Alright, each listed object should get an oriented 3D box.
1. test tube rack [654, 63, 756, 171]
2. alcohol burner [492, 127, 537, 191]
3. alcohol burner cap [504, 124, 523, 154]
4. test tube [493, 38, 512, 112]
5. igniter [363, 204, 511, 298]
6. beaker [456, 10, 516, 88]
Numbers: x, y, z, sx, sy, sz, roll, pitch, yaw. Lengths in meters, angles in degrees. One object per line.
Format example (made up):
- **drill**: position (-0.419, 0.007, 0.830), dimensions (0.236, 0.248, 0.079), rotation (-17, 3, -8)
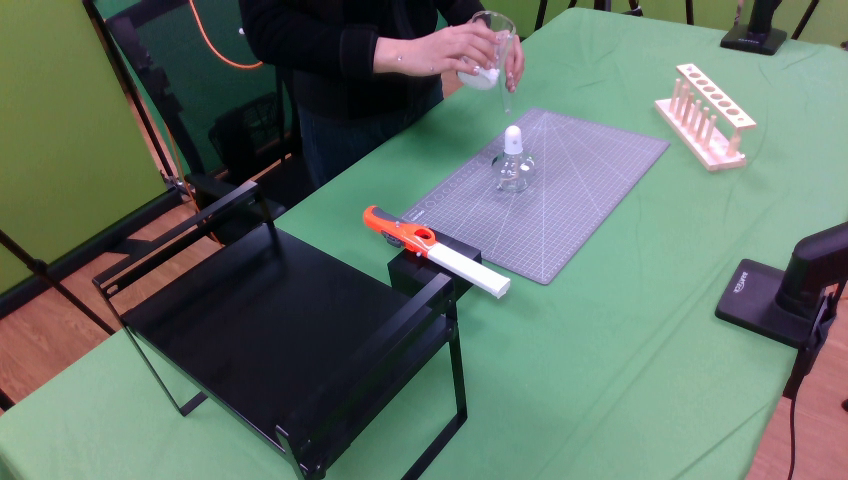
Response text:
- **test tube rack**: position (0.511, -0.233, 1.120), dimensions (0.067, 0.085, 0.241), rotation (-8, 41, -1)
- **alcohol burner**: position (0.156, -0.146, 1.046), dimensions (0.078, 0.119, 0.077), rotation (-4, 43, 4)
- **alcohol burner cap**: position (0.151, -0.173, 1.022), dimensions (0.034, 0.048, 0.033), rotation (-4, 36, 3)
- **test tube**: position (0.141, -0.289, 1.074), dimensions (0.017, 0.151, 0.017), rotation (-8, 49, 10)
- **igniter**: position (0.007, 0.009, 0.887), dimensions (0.274, 0.025, 0.057), rotation (29, 50, 32)
- **beaker**: position (0.099, -0.302, 0.973), dimensions (0.073, 0.084, 0.100), rotation (17, 83, 18)
